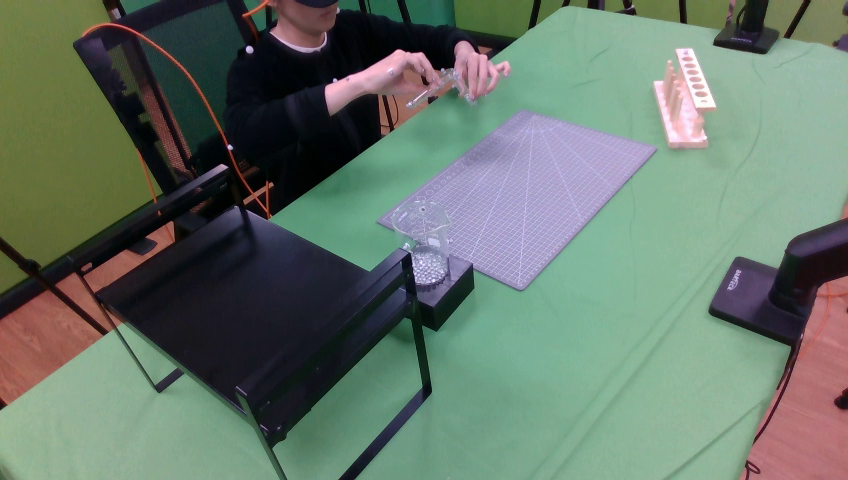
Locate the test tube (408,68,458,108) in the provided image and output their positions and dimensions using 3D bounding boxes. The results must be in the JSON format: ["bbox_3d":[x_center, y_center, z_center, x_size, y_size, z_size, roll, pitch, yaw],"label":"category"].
[{"bbox_3d":[0.016,-0.253,1.004,0.017,0.017,0.150,16,41,25],"label":"test tube"}]

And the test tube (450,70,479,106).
[{"bbox_3d":[0.077,-0.280,1.124,0.017,0.151,0.017,-3,82,20],"label":"test tube"}]

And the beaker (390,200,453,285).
[{"bbox_3d":[0.002,0.006,0.831,0.084,0.101,0.074,5,42,13],"label":"beaker"}]

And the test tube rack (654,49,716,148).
[{"bbox_3d":[0.502,-0.281,1.176,0.066,0.085,0.241,2,41,11],"label":"test tube rack"}]
